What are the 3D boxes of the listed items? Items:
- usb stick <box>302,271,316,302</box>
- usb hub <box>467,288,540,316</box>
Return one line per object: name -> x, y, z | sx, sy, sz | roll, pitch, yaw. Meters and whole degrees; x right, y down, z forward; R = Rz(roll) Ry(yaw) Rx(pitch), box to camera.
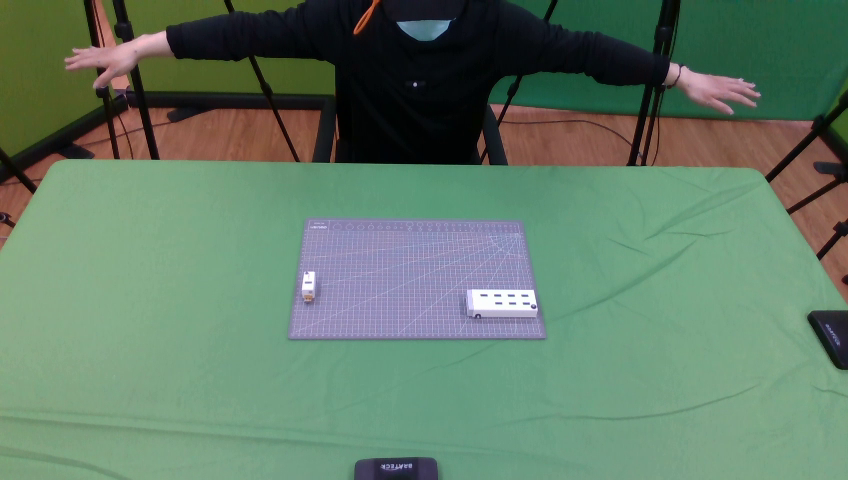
usb stick -> -0.207, 0.085, 1.092 | 0.021, 0.027, 0.059 | 1, 49, -5
usb hub -> 0.142, 0.112, 1.089 | 0.125, 0.025, 0.049 | 0, 46, -2
